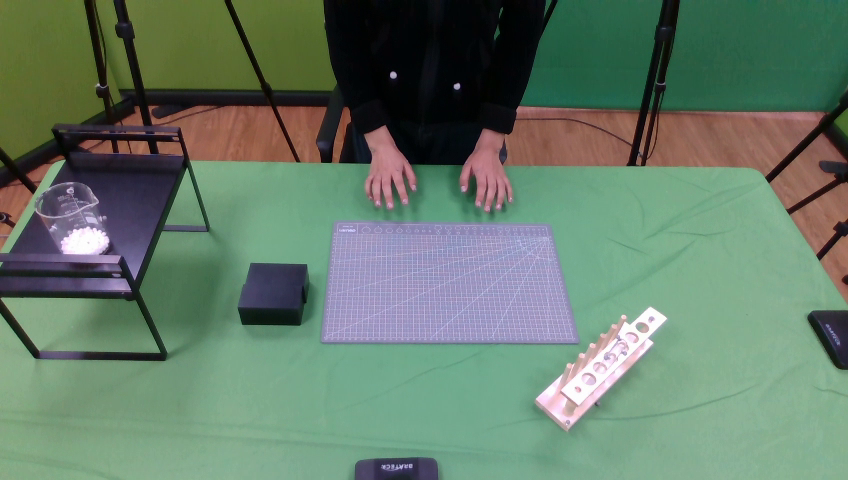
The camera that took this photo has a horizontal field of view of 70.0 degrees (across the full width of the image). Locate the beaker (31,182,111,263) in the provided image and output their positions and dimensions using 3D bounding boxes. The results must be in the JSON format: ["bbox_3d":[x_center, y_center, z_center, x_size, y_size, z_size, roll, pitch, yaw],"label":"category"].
[{"bbox_3d":[-0.502,-0.022,0.877,0.084,0.101,0.073,-2,47,-7],"label":"beaker"}]

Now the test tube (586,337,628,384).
[{"bbox_3d":[0.273,0.191,0.916,0.017,0.151,0.017,5,51,-5],"label":"test tube"}]

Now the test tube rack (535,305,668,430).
[{"bbox_3d":[0.290,0.193,0.984,0.242,0.085,0.066,-32,56,-30],"label":"test tube rack"}]
